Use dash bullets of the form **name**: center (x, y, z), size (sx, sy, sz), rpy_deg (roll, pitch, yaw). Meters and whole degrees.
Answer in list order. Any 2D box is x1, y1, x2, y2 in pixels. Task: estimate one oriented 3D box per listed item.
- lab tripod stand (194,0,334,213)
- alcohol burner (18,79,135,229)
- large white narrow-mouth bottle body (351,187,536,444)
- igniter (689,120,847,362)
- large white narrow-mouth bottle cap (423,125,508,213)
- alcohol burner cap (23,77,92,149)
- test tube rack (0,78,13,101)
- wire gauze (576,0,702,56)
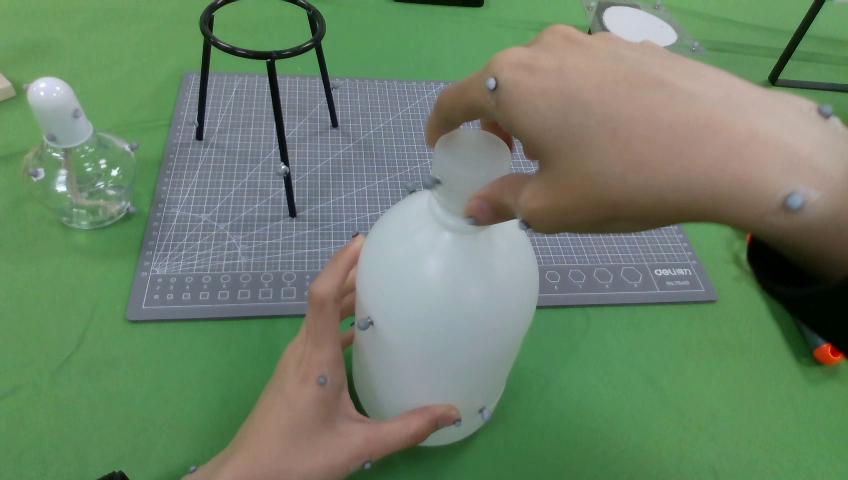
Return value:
- **lab tripod stand**: center (-0.124, -0.116, 0.489), size (0.149, 0.132, 0.147), rpy_deg (6, 49, -6)
- **alcohol burner**: center (-0.256, -0.065, 0.440), size (0.078, 0.120, 0.077), rpy_deg (6, 46, -6)
- **large white narrow-mouth bottle body**: center (0.010, 0.032, 0.343), size (0.102, 0.196, 0.101), rpy_deg (4, 48, -4)
- **igniter**: center (0.302, -0.013, 0.542), size (0.057, 0.025, 0.273), rpy_deg (8, 48, -16)
- **large white narrow-mouth bottle cap**: center (0.018, -0.032, 0.272), size (0.038, 0.024, 0.037), rpy_deg (4, 48, -4)
- **alcohol burner cap**: center (-0.252, -0.088, 0.412), size (0.034, 0.048, 0.033), rpy_deg (4, 55, -5)
- **test tube rack**: center (-0.476, -0.118, 0.469), size (0.066, 0.086, 0.242), rpy_deg (38, 53, 22)
- **wire gauze**: center (0.235, -0.241, 0.681), size (0.122, 0.011, 0.123), rpy_deg (1, 49, -10)
